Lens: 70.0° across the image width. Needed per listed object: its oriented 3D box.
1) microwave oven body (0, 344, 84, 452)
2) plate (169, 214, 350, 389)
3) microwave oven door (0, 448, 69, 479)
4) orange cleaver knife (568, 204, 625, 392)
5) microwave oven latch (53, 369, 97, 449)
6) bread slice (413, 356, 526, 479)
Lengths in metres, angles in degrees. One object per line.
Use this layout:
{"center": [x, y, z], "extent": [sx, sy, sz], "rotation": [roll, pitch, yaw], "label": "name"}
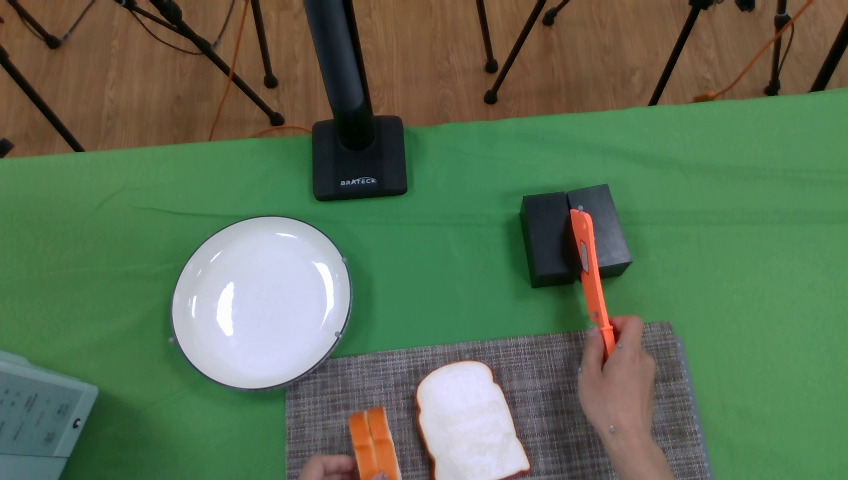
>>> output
{"center": [-0.582, 0.271, 0.527], "extent": [0.325, 0.262, 0.439], "rotation": [15, 71, 7], "label": "microwave oven body"}
{"center": [-0.188, 0.071, 0.711], "extent": [0.207, 0.039, 0.206], "rotation": [0, 70, 1], "label": "plate"}
{"center": [-0.454, 0.344, 0.491], "extent": [0.039, 0.245, 0.354], "rotation": [14, 71, 8], "label": "microwave oven door"}
{"center": [0.187, 0.059, 0.670], "extent": [0.012, 0.077, 0.211], "rotation": [-10, 85, -2], "label": "orange cleaver knife"}
{"center": [-0.386, 0.183, 0.656], "extent": [0.030, 0.030, 0.079], "rotation": [17, 72, 8], "label": "microwave oven latch"}
{"center": [0.046, 0.196, 0.666], "extent": [0.107, 0.018, 0.133], "rotation": [-12, 79, -8], "label": "bread slice"}
